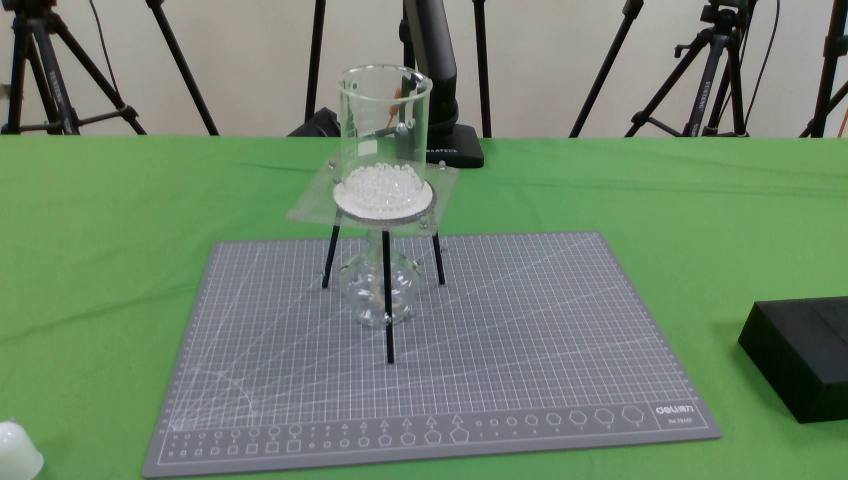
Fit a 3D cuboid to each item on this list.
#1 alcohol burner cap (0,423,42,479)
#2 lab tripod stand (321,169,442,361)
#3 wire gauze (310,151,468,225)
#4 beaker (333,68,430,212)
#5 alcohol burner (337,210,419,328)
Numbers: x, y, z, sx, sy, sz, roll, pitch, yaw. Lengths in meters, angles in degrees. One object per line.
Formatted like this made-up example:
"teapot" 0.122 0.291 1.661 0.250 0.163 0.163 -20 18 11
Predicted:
"alcohol burner cap" -0.297 0.151 0.429 0.034 0.048 0.033 3 35 -2
"lab tripod stand" -0.035 0.015 0.558 0.148 0.132 0.147 3 36 -2
"wire gauze" -0.031 -0.048 0.507 0.125 0.011 0.120 2 32 -11
"beaker" -0.032 -0.081 0.496 0.084 0.101 0.073 -26 45 -35
"alcohol burner" -0.042 0.023 0.564 0.078 0.120 0.077 3 34 -2
